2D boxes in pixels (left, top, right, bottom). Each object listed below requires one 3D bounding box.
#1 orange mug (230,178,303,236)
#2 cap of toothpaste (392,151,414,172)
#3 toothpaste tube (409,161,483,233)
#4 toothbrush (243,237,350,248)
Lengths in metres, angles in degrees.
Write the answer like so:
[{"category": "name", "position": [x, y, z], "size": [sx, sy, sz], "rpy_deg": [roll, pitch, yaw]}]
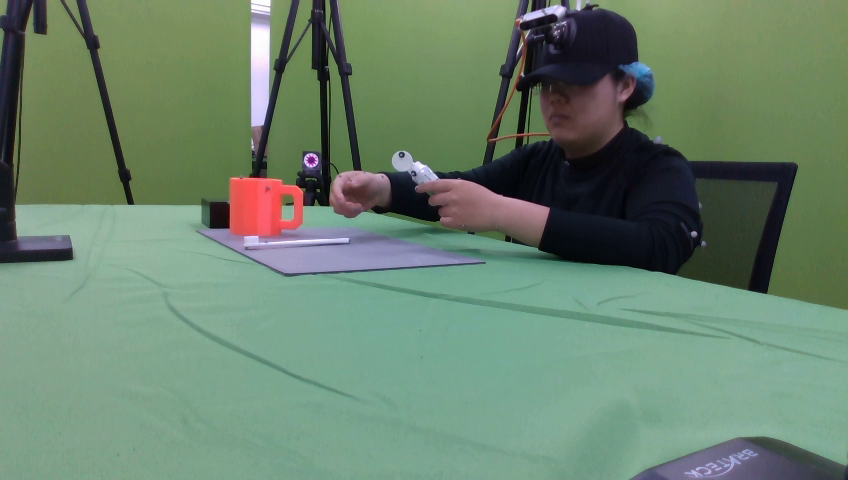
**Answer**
[{"category": "orange mug", "position": [-0.275, -0.060, 1.058], "size": [0.126, 0.101, 0.083], "rpy_deg": [-2, 8, -5]}, {"category": "cap of toothpaste", "position": [-0.034, -0.129, 0.992], "size": [0.037, 0.037, 0.011], "rpy_deg": [3, 25, 3]}, {"category": "toothpaste tube", "position": [0.036, -0.073, 1.008], "size": [0.165, 0.034, 0.055], "rpy_deg": [44, -1, 2]}, {"category": "toothbrush", "position": [-0.191, 0.002, 0.927], "size": [0.183, 0.016, 0.014], "rpy_deg": [-2, -7, -41]}]
